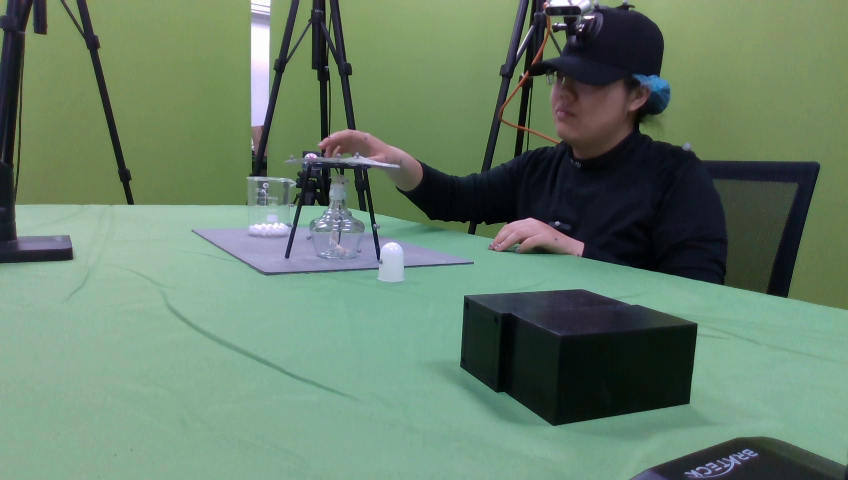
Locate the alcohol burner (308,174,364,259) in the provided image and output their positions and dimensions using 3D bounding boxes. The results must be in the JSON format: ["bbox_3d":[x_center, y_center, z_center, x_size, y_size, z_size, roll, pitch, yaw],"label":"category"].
[{"bbox_3d":[-0.121,-0.033,0.843,0.078,0.119,0.078,3,5,0],"label":"alcohol burner"}]

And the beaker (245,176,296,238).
[{"bbox_3d":[-0.263,-0.057,1.034,0.084,0.100,0.074,1,8,-17],"label":"beaker"}]

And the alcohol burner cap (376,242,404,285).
[{"bbox_3d":[-0.039,0.027,0.710,0.034,0.048,0.034,3,6,0],"label":"alcohol burner cap"}]

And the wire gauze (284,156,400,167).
[{"bbox_3d":[-0.115,-0.109,0.835,0.126,0.011,0.121,-3,10,-30],"label":"wire gauze"}]

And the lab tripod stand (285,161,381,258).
[{"bbox_3d":[-0.123,-0.043,0.842,0.148,0.131,0.148,3,9,0],"label":"lab tripod stand"}]
